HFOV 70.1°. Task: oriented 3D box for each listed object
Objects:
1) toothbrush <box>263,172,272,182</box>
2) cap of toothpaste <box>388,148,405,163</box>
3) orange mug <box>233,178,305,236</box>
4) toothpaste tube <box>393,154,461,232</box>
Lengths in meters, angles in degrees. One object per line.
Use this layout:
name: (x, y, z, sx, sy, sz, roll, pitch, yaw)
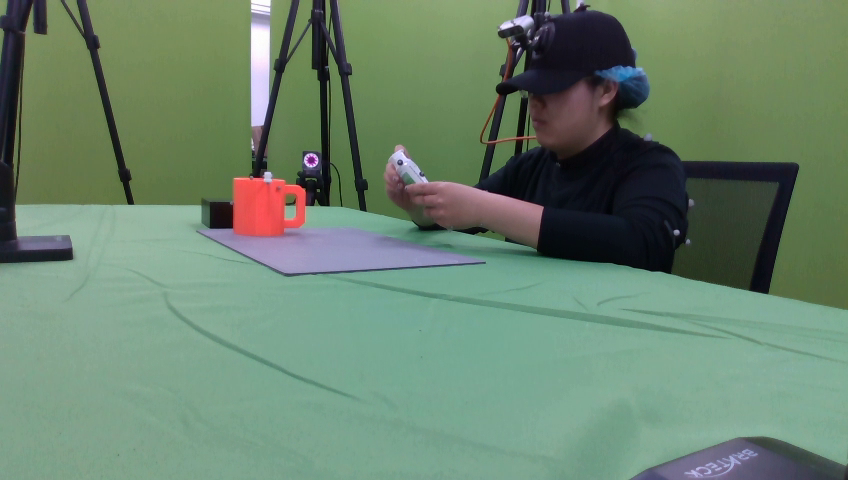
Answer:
toothbrush: (-0.273, -0.112, 1.055, 0.014, 0.016, 0.181, -8, 10, -13)
cap of toothpaste: (-0.046, -0.146, 1.058, 0.037, 0.011, 0.037, -39, -6, -5)
orange mug: (-0.273, -0.061, 1.067, 0.127, 0.101, 0.083, -5, 10, -24)
toothpaste tube: (0.003, -0.086, 1.052, 0.034, 0.165, 0.055, -39, -3, -20)
